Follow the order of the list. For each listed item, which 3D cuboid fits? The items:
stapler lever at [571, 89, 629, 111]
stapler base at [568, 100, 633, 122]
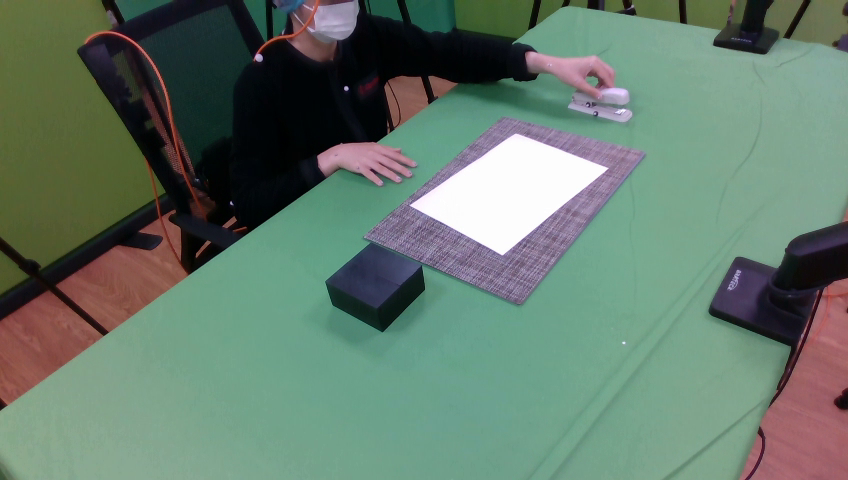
[{"bbox_3d":[0.357,-0.292,1.222,0.117,0.040,0.027,25,49,33],"label":"stapler lever"},{"bbox_3d":[0.361,-0.273,1.237,0.129,0.024,0.041,24,48,34],"label":"stapler base"}]
